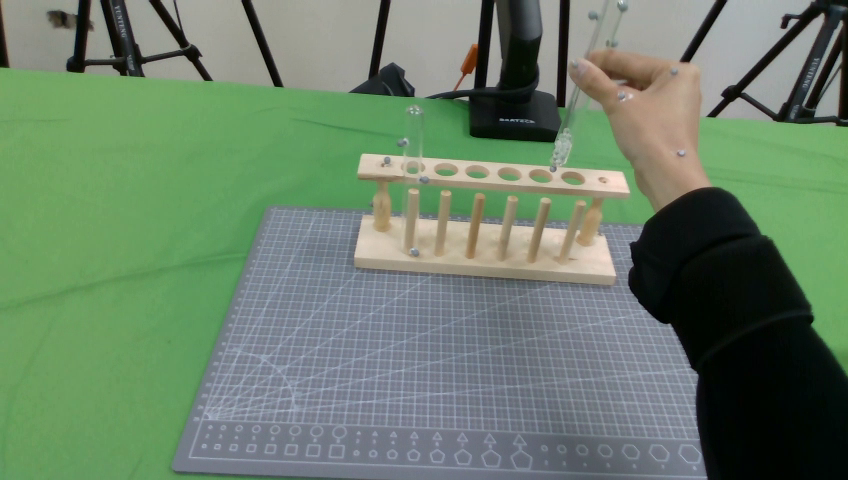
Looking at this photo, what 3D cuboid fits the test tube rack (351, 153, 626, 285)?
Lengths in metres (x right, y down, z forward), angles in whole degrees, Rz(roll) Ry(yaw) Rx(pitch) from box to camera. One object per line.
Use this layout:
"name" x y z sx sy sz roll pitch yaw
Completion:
"test tube rack" 0.057 -0.019 0.562 0.242 0.086 0.066 4 40 -1

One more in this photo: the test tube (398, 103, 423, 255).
"test tube" -0.012 -0.048 0.519 0.017 0.152 0.017 3 39 -2

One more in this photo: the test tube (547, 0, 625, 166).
"test tube" 0.123 -0.119 0.475 0.017 0.151 0.017 6 45 -6
